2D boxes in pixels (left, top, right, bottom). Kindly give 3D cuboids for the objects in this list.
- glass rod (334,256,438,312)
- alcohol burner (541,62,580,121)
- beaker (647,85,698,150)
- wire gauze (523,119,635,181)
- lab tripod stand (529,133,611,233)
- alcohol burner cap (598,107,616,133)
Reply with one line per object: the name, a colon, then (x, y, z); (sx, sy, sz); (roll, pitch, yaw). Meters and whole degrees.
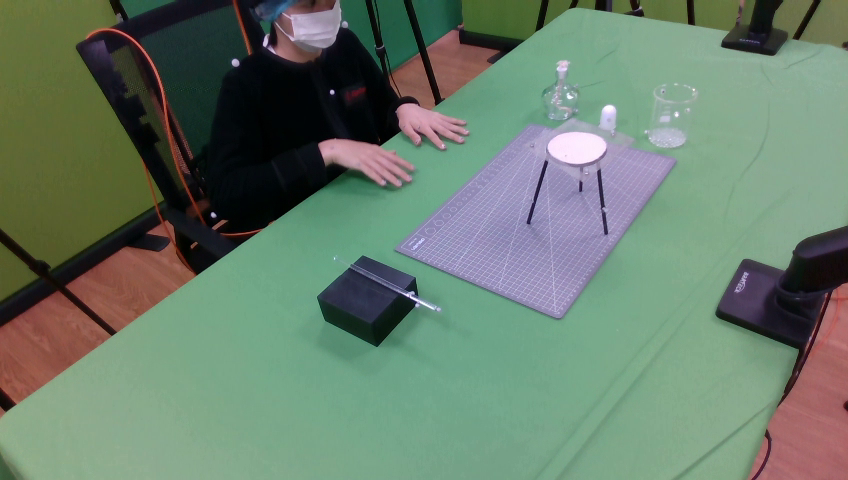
glass rod: (-0.058, 0.060, 0.850); (0.198, 0.008, 0.008); (24, 49, 33)
alcohol burner: (0.276, -0.302, 1.222); (0.078, 0.119, 0.077); (-4, 38, 4)
beaker: (0.454, -0.223, 1.110); (0.084, 0.101, 0.073); (-10, 40, -4)
wire gauze: (0.233, -0.143, 0.913); (0.122, 0.011, 0.124); (-32, 45, -25)
lab tripod stand: (0.236, -0.089, 0.953); (0.148, 0.132, 0.147); (-5, 42, 5)
alcohol burner cap: (0.361, -0.238, 1.189); (0.034, 0.048, 0.033); (-4, 40, 4)
